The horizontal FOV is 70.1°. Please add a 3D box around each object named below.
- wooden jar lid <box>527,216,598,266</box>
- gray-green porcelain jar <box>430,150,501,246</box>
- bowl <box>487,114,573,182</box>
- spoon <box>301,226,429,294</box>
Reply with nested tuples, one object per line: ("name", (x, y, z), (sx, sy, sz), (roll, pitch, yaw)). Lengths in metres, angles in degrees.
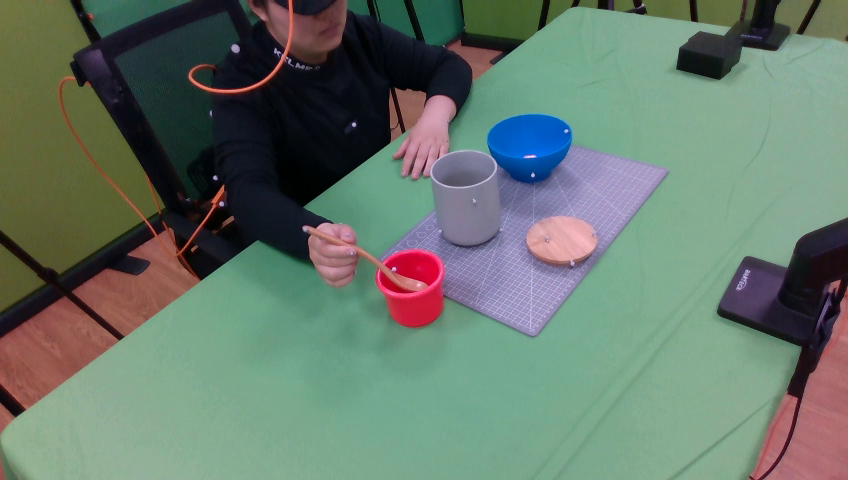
("wooden jar lid", (0.215, 0.003, 0.937), (0.108, 0.021, 0.108), (-4, 40, 4))
("gray-green porcelain jar", (0.069, -0.062, 0.959), (0.106, 0.127, 0.105), (-6, 40, 5))
("bowl", (0.190, -0.156, 1.085), (0.151, 0.077, 0.150), (-5, 40, 5))
("spoon", (-0.077, 0.026, 0.813), (0.021, 0.195, 0.041), (-53, 20, 12))
